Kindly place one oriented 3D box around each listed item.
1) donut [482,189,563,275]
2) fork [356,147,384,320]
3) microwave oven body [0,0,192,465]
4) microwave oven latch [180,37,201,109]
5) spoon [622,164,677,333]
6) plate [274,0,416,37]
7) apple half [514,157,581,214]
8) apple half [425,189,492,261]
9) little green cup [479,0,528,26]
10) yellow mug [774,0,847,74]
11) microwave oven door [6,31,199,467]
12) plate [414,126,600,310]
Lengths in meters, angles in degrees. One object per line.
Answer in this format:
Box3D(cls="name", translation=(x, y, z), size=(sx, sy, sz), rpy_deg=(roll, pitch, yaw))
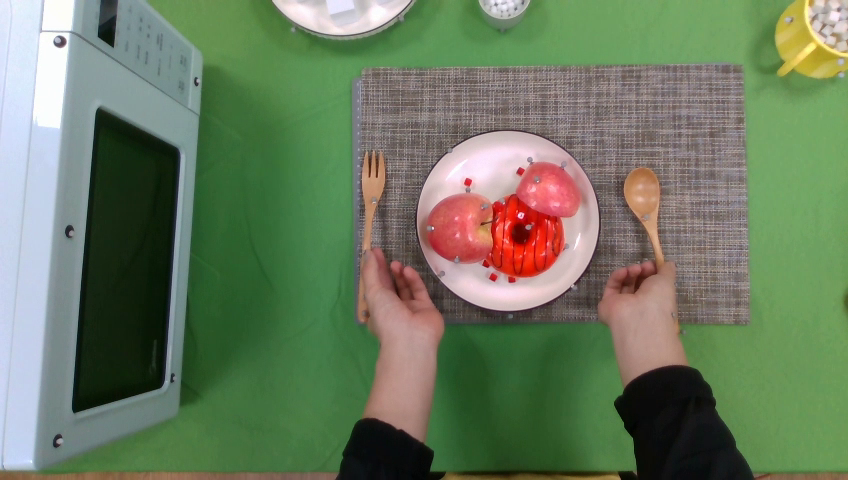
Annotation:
Box3D(cls="donut", translation=(0.106, -0.009, 0.679), size=(0.099, 0.048, 0.099), rpy_deg=(0, 88, 4))
Box3D(cls="fork", translation=(-0.065, -0.011, 0.699), size=(0.028, 0.019, 0.206), rpy_deg=(1, 73, 5))
Box3D(cls="microwave oven body", translation=(-0.444, -0.034, 0.617), size=(0.326, 0.260, 0.441), rpy_deg=(2, 87, 4))
Box3D(cls="microwave oven latch", translation=(-0.281, -0.197, 0.715), size=(0.030, 0.029, 0.079), rpy_deg=(3, 87, 4))
Box3D(cls="spoon", translation=(0.260, 0.010, 0.685), size=(0.042, 0.021, 0.193), rpy_deg=(-10, 83, -8))
Box3D(cls="plate", translation=(-0.091, -0.342, 0.731), size=(0.207, 0.039, 0.207), rpy_deg=(0, 86, 4))
Box3D(cls="apple half", translation=(0.142, -0.066, 0.666), size=(0.081, 0.033, 0.080), rpy_deg=(10, 48, -10))
Box3D(cls="apple half", translation=(0.033, -0.018, 0.665), size=(0.074, 0.054, 0.080), rpy_deg=(-1, 83, 45))
Box3D(cls="little green cup", translation=(0.093, -0.285, 0.715), size=(0.061, 0.039, 0.061), rpy_deg=(0, 85, 4))
Box3D(cls="yellow mug", translation=(0.445, -0.234, 0.673), size=(0.131, 0.064, 0.099), rpy_deg=(-43, 84, 1))
Box3D(cls="microwave oven door", translation=(-0.301, 0.013, 0.599), size=(0.039, 0.244, 0.355), rpy_deg=(2, 86, 4))
Box3D(cls="plate", translation=(0.093, -0.025, 0.693), size=(0.209, 0.038, 0.208), rpy_deg=(0, 86, 4))
